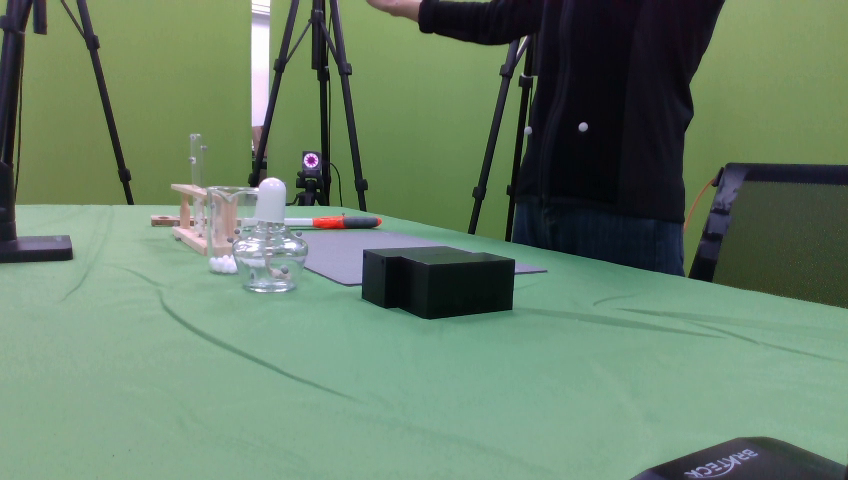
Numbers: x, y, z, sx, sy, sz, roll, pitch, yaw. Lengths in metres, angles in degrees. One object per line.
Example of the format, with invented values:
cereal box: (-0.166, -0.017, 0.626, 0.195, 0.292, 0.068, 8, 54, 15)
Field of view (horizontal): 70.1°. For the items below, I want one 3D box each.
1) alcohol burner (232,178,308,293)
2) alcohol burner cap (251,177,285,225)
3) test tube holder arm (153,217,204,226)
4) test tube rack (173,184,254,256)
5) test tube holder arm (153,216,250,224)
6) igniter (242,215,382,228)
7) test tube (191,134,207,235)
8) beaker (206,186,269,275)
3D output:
alcohol burner: (-0.161, -0.006, 0.632, 0.078, 0.119, 0.078, 1, 9, 0)
alcohol burner cap: (-0.160, -0.041, 0.628, 0.034, 0.048, 0.034, 9, 6, -1)
test tube holder arm: (-0.459, -0.034, 1.132, 0.088, 0.015, 0.010, 0, 42, -29)
test tube rack: (-0.328, -0.036, 0.927, 0.067, 0.085, 0.241, -2, 9, -32)
test tube holder arm: (-0.422, -0.038, 1.159, 0.179, 0.015, 0.013, -2, 43, -31)
igniter: (-0.213, -0.036, 1.186, 0.278, 0.025, 0.057, -2, -1, -31)
test tube: (-0.336, -0.083, 0.903, 0.017, 0.150, 0.017, -1, 5, 0)
beaker: (-0.220, -0.012, 0.717, 0.074, 0.100, 0.084, 2, 8, -3)
